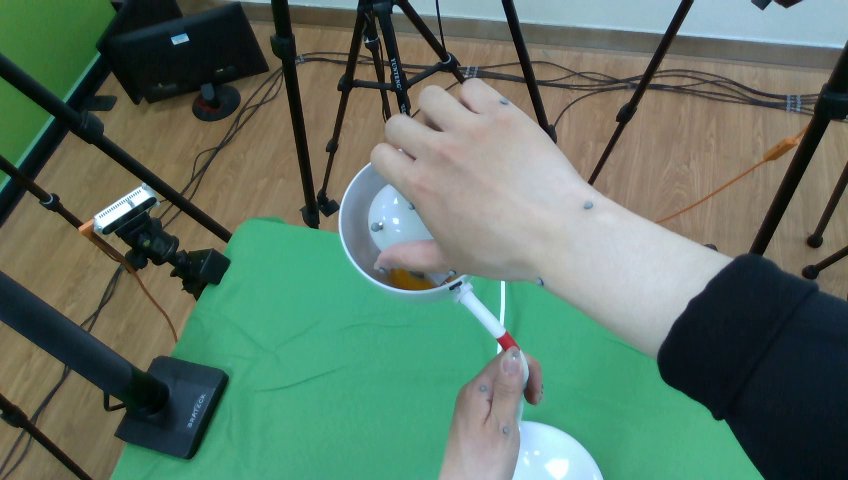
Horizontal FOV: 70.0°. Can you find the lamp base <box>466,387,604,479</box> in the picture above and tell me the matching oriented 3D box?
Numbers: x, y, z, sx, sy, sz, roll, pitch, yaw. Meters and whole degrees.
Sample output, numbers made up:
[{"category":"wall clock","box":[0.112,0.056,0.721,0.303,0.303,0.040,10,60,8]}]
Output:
[{"category":"lamp base","box":[0.113,0.237,0.643,0.161,0.182,0.177,-25,56,-7]}]

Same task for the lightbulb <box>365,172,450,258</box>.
[{"category":"lightbulb","box":[-0.011,-0.011,0.449,0.059,0.108,0.059,-1,73,2]}]

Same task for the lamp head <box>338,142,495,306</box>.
[{"category":"lamp head","box":[0.001,0.001,0.474,0.112,0.124,0.111,-2,67,6]}]
